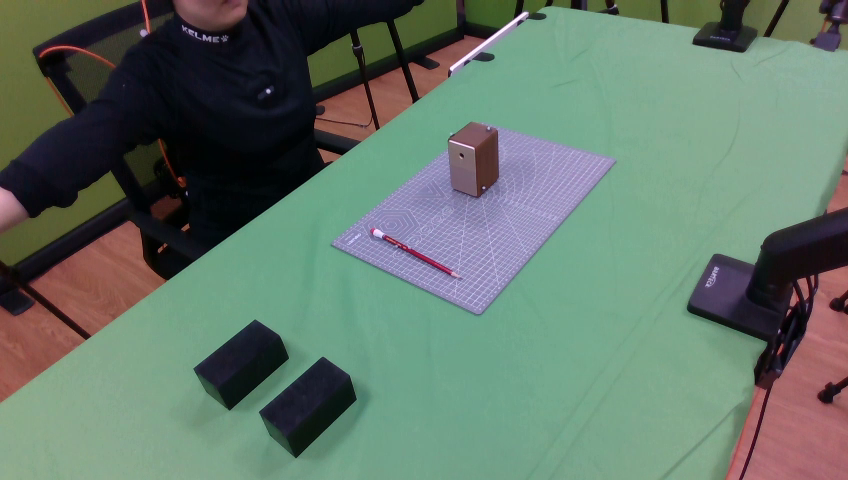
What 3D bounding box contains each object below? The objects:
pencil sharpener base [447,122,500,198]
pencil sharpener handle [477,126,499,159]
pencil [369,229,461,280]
[{"bbox_3d":[0.089,-0.140,1.052,0.061,0.107,0.077,22,48,31],"label":"pencil sharpener base"},{"bbox_3d":[0.119,-0.178,1.073,0.035,0.068,0.031,22,48,31],"label":"pencil sharpener handle"},{"bbox_3d":[-0.016,0.022,0.952,0.192,0.012,0.012,27,51,33],"label":"pencil"}]
